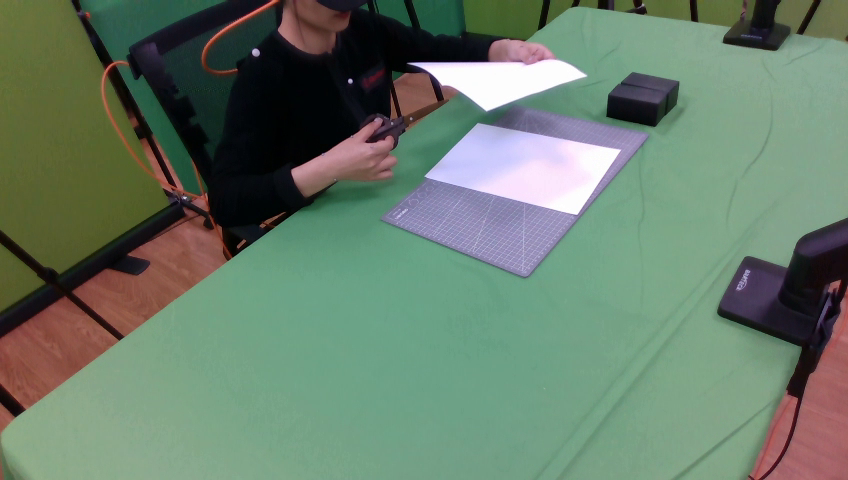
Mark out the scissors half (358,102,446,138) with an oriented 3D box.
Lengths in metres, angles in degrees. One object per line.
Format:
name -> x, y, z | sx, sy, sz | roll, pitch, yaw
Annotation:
scissors half -> -0.038, -0.218, 1.057 | 0.174, 0.040, 0.013 | -14, 30, 18

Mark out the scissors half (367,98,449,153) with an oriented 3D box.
scissors half -> -0.028, -0.202, 1.064 | 0.174, 0.040, 0.013 | -30, 19, 26
